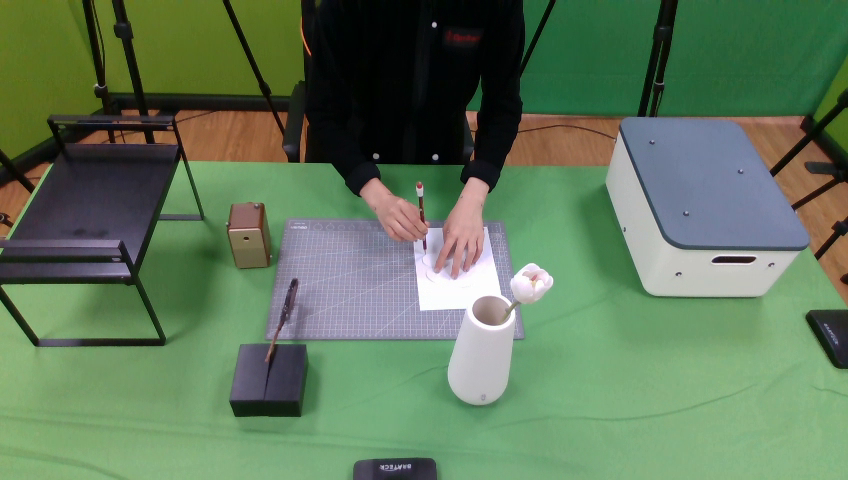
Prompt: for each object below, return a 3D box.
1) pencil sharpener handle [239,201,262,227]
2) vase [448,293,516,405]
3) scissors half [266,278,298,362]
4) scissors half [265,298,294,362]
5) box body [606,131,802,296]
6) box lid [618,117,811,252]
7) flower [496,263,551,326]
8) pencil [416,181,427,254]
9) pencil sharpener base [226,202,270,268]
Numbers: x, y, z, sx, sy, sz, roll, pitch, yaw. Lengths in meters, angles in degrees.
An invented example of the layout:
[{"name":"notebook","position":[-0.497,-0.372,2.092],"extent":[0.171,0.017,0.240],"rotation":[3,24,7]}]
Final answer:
[{"name":"pencil sharpener handle","position":[-0.325,-0.056,1.150],"extent":[0.036,0.068,0.030],"rotation":[-13,46,3]},{"name":"vase","position":[0.091,0.169,0.921],"extent":[0.098,0.201,0.097],"rotation":[3,47,-3]},{"name":"scissors half","position":[-0.234,0.127,0.993],"extent":[0.013,0.040,0.174],"rotation":[12,46,-4]},{"name":"scissors half","position":[-0.239,0.143,1.005],"extent":[0.013,0.040,0.174],"rotation":[17,28,-6]},{"name":"box body","position":[0.530,-0.067,1.204],"extent":[0.254,0.161,0.361],"rotation":[0,46,-4]},{"name":"box lid","position":[0.534,-0.117,1.148],"extent":[0.263,0.015,0.369],"rotation":[0,47,-3]},{"name":"flower","position":[0.102,0.120,0.853],"extent":[0.044,0.363,0.038],"rotation":[-1,64,-10]},{"name":"pencil","position":[-0.003,-0.036,1.106],"extent":[0.012,0.195,0.012],"rotation":[-2,50,3]},{"name":"pencil sharpener base","position":[-0.323,-0.010,1.123],"extent":[0.061,0.107,0.076],"rotation":[-3,46,-7]}]
